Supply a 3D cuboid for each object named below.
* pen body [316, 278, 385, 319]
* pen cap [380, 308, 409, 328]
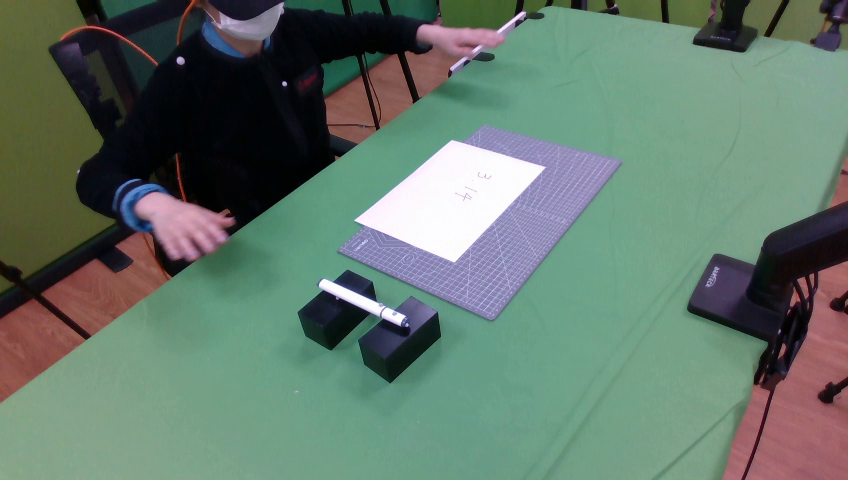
[{"bbox_3d":[-0.088,0.083,0.812,0.143,0.017,0.017,21,48,29],"label":"pen body"},{"bbox_3d":[-0.037,0.102,0.782,0.038,0.017,0.017,19,47,29],"label":"pen cap"}]
